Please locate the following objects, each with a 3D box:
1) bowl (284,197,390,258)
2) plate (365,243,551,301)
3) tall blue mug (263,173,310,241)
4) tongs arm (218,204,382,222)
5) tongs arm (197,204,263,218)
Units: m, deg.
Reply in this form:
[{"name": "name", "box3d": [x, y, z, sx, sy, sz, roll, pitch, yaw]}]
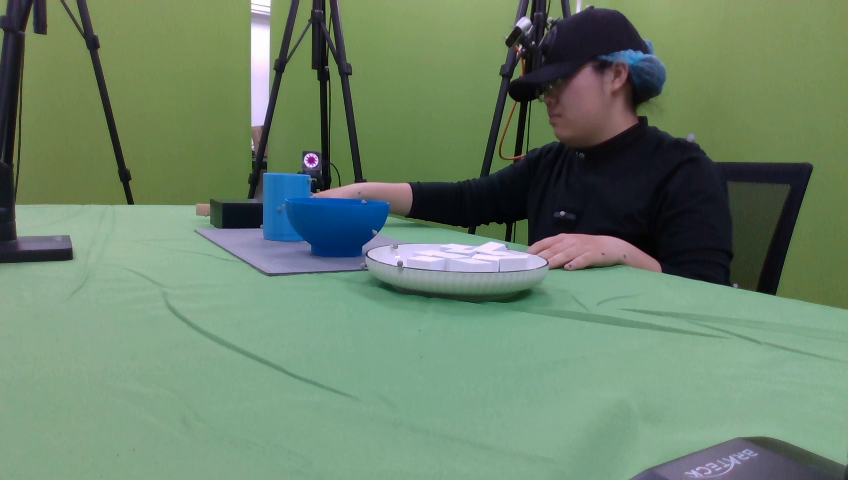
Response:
[{"name": "bowl", "box3d": [-0.125, -0.018, 0.870, 0.151, 0.077, 0.151, 3, 7, 0]}, {"name": "plate", "box3d": [0.038, 0.035, 0.685, 0.209, 0.038, 0.209, 2, 7, 0]}, {"name": "tall blue mug", "box3d": [-0.233, -0.058, 1.019, 0.078, 0.108, 0.107, -1, 8, -19]}, {"name": "tongs arm", "box3d": [-0.285, -0.062, 1.382, 0.387, 0.027, 0.028, 3, -2, 6]}, {"name": "tongs arm", "box3d": [-0.282, -0.057, 1.301, 0.386, 0.026, 0.050, 2, 1, -7]}]
